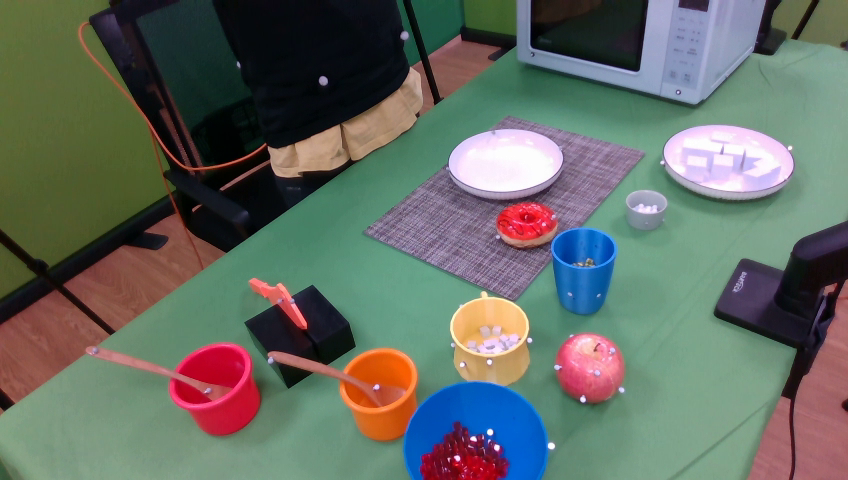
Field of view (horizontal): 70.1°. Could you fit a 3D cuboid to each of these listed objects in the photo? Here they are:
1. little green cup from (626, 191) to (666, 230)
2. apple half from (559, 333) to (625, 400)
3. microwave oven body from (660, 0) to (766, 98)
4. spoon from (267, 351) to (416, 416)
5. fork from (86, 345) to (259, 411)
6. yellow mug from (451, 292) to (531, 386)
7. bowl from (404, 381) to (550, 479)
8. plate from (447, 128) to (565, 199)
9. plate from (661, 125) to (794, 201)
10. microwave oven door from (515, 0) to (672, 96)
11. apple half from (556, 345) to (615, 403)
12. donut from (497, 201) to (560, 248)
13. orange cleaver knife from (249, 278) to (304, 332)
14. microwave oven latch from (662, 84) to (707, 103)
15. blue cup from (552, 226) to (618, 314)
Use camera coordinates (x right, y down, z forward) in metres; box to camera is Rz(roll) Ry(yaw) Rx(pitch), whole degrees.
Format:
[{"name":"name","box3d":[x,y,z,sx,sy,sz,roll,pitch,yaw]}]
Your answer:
[{"name":"little green cup","box3d":[0.352,-0.046,0.963,0.061,0.039,0.061,-4,40,4]},{"name":"apple half","box3d":[0.209,0.147,0.730,0.080,0.075,0.053,26,48,38]},{"name":"microwave oven body","box3d":[0.472,-0.513,1.317,0.438,0.261,0.327,26,51,34]},{"name":"spoon","box3d":[-0.090,0.162,0.699,0.021,0.195,0.041,-44,30,27]},{"name":"fork","box3d":[-0.298,0.166,0.728,0.209,0.018,0.028,28,49,-23]},{"name":"yellow mug","box3d":[0.085,0.120,0.786,0.100,0.064,0.130,-7,39,1]},{"name":"bowl","box3d":[0.058,0.235,0.645,0.151,0.077,0.150,-4,39,4]},{"name":"plate","box3d":[0.147,-0.134,1.092,0.209,0.038,0.208,-4,40,4]},{"name":"plate","box3d":[0.513,-0.128,1.035,0.207,0.039,0.206,-4,40,4]},{"name":"microwave oven door","box3d":[0.343,-0.454,1.259,0.353,0.245,0.039,26,51,33]},{"name":"apple half","box3d":[0.181,0.167,0.709,0.080,0.081,0.033,29,49,35]},{"name":"donut","box3d":[0.165,-0.026,0.958,0.099,0.048,0.098,-5,38,5]},{"name":"orange cleaver knife","box3d":[-0.210,0.089,0.855,0.012,0.077,0.210,-27,14,-25]},{"name":"microwave oven latch","box3d":[0.517,-0.296,1.204,0.078,0.029,0.030,27,52,35]},{"name":"blue cup","box3d":[0.218,0.047,0.826,0.092,0.101,0.092,-6,40,5]}]
